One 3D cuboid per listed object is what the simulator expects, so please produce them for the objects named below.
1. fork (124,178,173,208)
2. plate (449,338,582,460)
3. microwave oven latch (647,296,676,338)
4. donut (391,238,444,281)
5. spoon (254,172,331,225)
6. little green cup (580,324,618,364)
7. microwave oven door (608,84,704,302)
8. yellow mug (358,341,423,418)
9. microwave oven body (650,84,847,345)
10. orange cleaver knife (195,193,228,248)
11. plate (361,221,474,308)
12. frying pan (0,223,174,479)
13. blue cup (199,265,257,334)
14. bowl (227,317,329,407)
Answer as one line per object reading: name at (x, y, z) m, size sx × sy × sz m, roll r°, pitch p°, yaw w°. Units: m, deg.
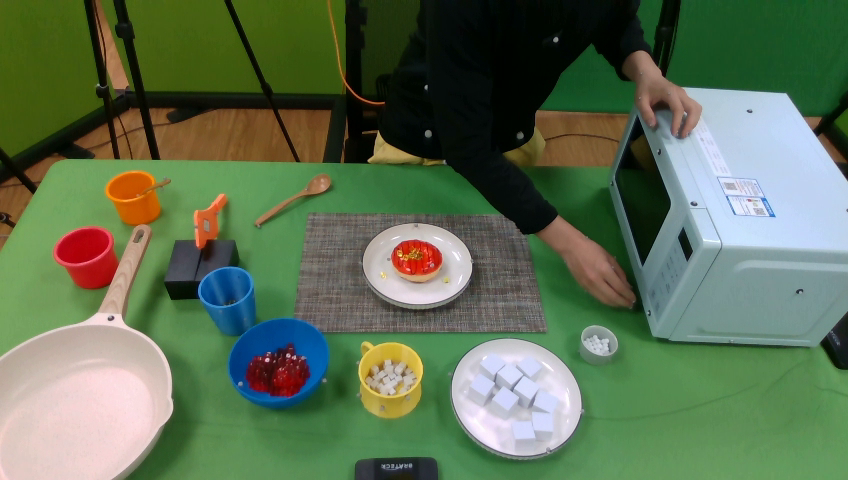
fork at (-0.525, -0.090, 1.154) m, size 0.207 × 0.019 × 0.028 m, roll -17°, pitch 27°, yaw 45°
plate at (0.141, 0.251, 0.955) m, size 0.208 × 0.039 × 0.206 m, roll 2°, pitch 47°, yaw -2°
microwave oven latch at (0.413, 0.133, 1.060) m, size 0.030 × 0.029 × 0.078 m, roll 4°, pitch 46°, yaw 1°
donut at (-0.012, 0.035, 1.128) m, size 0.099 × 0.048 × 0.098 m, roll 3°, pitch 43°, yaw -3°
spoon at (-0.272, -0.087, 1.257) m, size 0.041 × 0.022 × 0.193 m, roll 45°, pitch 57°, yaw 13°
little green cup at (0.295, 0.179, 1.031) m, size 0.061 × 0.039 × 0.061 m, roll 2°, pitch 45°, yaw -2°
microwave oven door at (0.424, -0.096, 1.138) m, size 0.039 × 0.245 × 0.353 m, roll 3°, pitch 46°, yaw -1°
yellow mug at (-0.062, 0.210, 0.961) m, size 0.100 × 0.064 × 0.130 m, roll -29°, pitch 54°, yaw -27°
microwave oven body at (0.568, -0.054, 1.116) m, size 0.326 × 0.261 × 0.439 m, roll 2°, pitch 46°, yaw -1°
orange cleaver knife at (-0.406, -0.041, 1.163) m, size 0.012 × 0.077 × 0.210 m, roll 0°, pitch 18°, yaw -3°
plate at (-0.011, 0.049, 1.130) m, size 0.209 × 0.038 × 0.208 m, roll 2°, pitch 46°, yaw -2°
frying pan at (-0.505, 0.169, 0.941) m, size 0.307 × 0.103 × 0.485 m, roll 5°, pitch 54°, yaw -1°
blue cup at (-0.320, 0.106, 1.015) m, size 0.093 × 0.101 × 0.092 m, roll 2°, pitch 48°, yaw -2°
bowl at (-0.222, 0.203, 0.947) m, size 0.151 × 0.077 × 0.150 m, roll 2°, pitch 46°, yaw -2°
